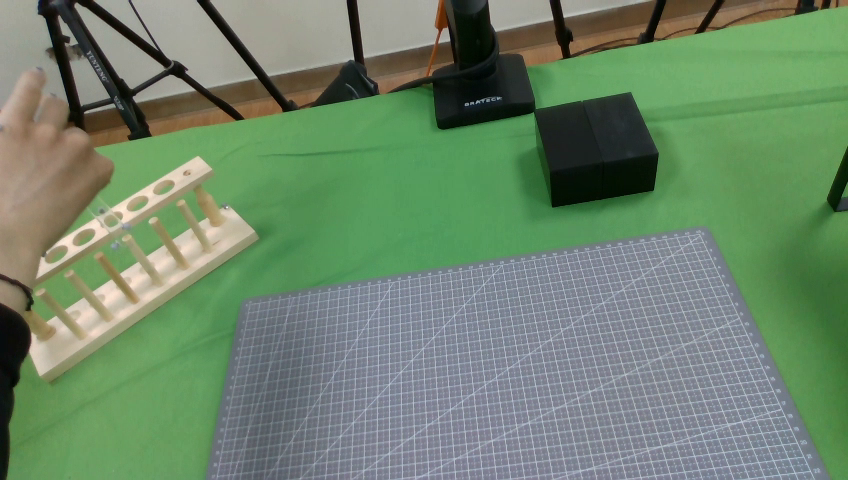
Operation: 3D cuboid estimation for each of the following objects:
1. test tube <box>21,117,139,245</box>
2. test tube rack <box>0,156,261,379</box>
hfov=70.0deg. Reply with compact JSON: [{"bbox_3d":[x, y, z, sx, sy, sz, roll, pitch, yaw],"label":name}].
[{"bbox_3d":[-0.294,-0.046,0.525,0.017,0.152,0.017,-6,51,8],"label":"test tube"},{"bbox_3d":[-0.297,0.023,0.612,0.242,0.086,0.066,-37,50,-19],"label":"test tube rack"}]
